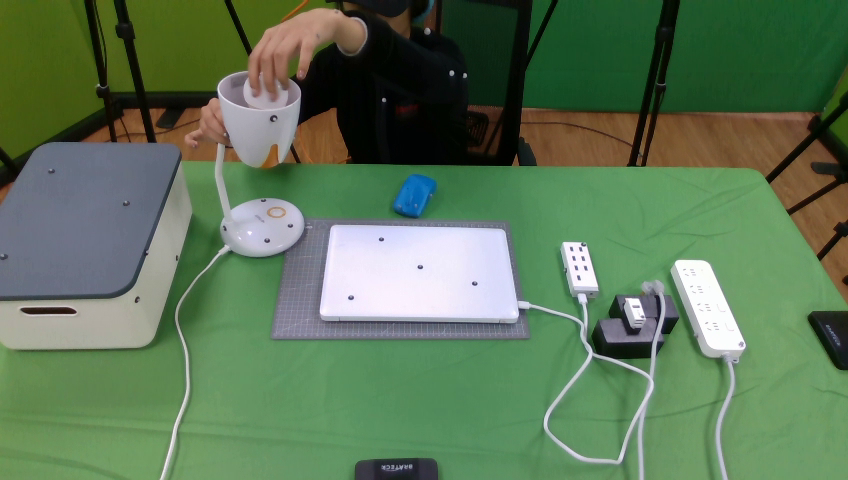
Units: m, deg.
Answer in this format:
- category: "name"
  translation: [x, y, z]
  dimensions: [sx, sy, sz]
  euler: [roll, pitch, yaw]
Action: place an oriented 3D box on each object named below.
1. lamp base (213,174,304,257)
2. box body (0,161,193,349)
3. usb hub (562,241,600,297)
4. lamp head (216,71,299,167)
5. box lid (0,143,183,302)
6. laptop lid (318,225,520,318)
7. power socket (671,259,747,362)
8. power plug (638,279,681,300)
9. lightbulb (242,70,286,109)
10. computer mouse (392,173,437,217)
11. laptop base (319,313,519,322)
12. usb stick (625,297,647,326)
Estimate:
- category: "lamp base"
  translation: [-0.324, -0.074, 1.135]
  dimensions: [0.160, 0.181, 0.179]
  euler: [28, 53, 24]
- category: "box body"
  translation: [-0.570, 0.006, 1.054]
  dimensions: [0.254, 0.161, 0.361]
  euler: [-1, 46, -4]
- category: "usb hub"
  translation: [0.300, 0.054, 1.162]
  dimensions: [0.049, 0.025, 0.124]
  euler: [3, 46, -3]
- category: "lamp head"
  translation: [-0.240, -0.169, 0.876]
  dimensions: [0.112, 0.123, 0.111]
  euler: [9, 45, -8]
- category: "box lid"
  translation: [-0.567, -0.045, 0.999]
  dimensions: [0.263, 0.015, 0.369]
  euler: [-1, 46, -4]
- category: "laptop lid"
  translation: [-0.009, 0.052, 1.131]
  dimensions: [0.357, 0.013, 0.240]
  euler: [2, 43, -2]
- category: "power socket"
  translation: [0.516, 0.119, 1.108]
  dimensions: [0.072, 0.033, 0.225]
  euler: [1, 46, -2]
- category: "power plug"
  translation: [0.434, 0.099, 1.119]
  dimensions: [0.073, 0.053, 0.035]
  euler: [34, 38, -16]
- category: "lightbulb"
  translation: [-0.228, -0.187, 0.859]
  dimensions: [0.059, 0.108, 0.059]
  euler: [10, 34, -7]
- category: "computer mouse"
  translation: [-0.018, -0.098, 1.282]
  dimensions: [0.062, 0.041, 0.117]
  euler: [20, 51, 13]
- category: "laptop base"
  translation: [-0.009, 0.062, 1.138]
  dimensions: [0.354, 0.023, 0.234]
  euler: [1, 42, -3]
- category: "usb stick"
  translation: [0.360, 0.116, 1.034]
  dimensions: [0.021, 0.027, 0.059]
  euler: [-2, 44, -2]
